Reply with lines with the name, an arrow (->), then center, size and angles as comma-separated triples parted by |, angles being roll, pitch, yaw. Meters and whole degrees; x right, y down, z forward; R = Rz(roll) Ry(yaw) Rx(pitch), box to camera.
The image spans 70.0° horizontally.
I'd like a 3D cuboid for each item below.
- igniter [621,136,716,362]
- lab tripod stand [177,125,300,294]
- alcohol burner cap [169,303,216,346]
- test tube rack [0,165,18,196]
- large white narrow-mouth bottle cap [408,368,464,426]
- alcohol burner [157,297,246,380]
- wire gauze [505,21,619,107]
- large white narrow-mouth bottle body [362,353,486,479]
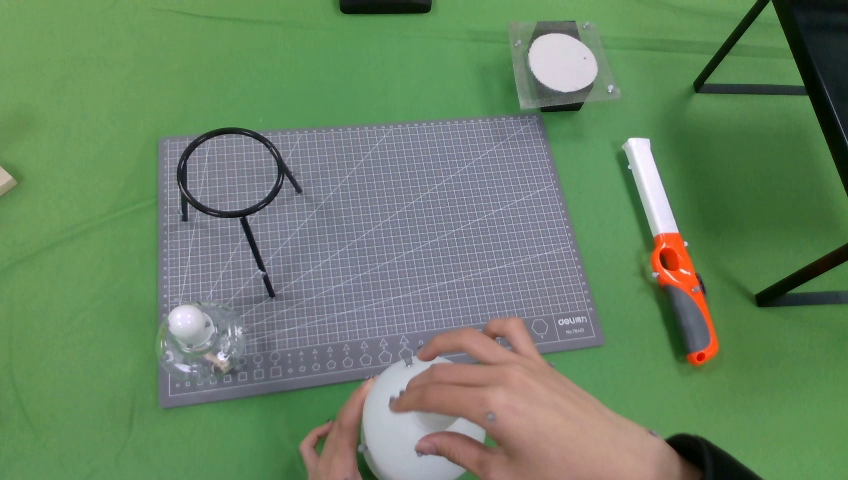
igniter -> 0.277, 0.002, 0.693 | 0.057, 0.025, 0.274 | -1, 67, -20
lab tripod stand -> -0.173, -0.034, 0.586 | 0.149, 0.132, 0.147 | 4, 67, -8
alcohol burner cap -> -0.197, 0.070, 0.509 | 0.034, 0.048, 0.033 | 2, 72, -7
test tube rack -> -0.524, -0.017, 0.560 | 0.066, 0.085, 0.242 | 39, 67, 10
large white narrow-mouth bottle cap -> 0.008, 0.107, 0.413 | 0.038, 0.024, 0.037 | 3, 66, -5
alcohol burner -> -0.201, 0.083, 0.543 | 0.078, 0.120, 0.077 | 4, 64, -8
wire gauze -> 0.163, -0.215, 0.729 | 0.122, 0.011, 0.124 | -4, 68, -9
large white narrow-mouth bottle body -> -0.001, 0.148, 0.500 | 0.102, 0.196, 0.101 | 2, 66, -5
